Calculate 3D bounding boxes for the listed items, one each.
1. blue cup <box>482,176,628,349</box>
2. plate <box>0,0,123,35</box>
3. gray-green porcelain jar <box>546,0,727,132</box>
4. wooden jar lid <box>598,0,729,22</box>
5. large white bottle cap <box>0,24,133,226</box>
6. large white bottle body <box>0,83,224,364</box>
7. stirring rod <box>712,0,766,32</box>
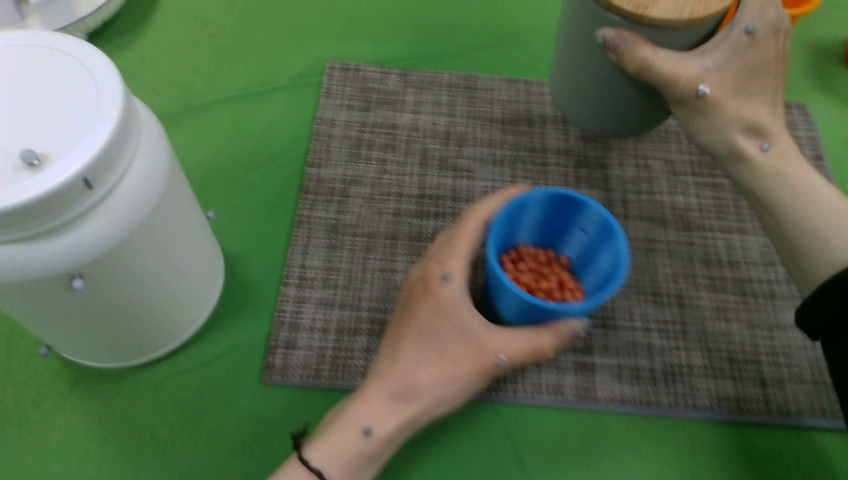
[{"bbox_3d":[0.077,0.025,0.397,0.092,0.101,0.092,0,57,0],"label":"blue cup"},{"bbox_3d":[-0.371,-0.245,0.560,0.208,0.039,0.206,2,61,-3],"label":"plate"},{"bbox_3d":[0.145,-0.148,0.434,0.106,0.127,0.105,-1,65,2],"label":"gray-green porcelain jar"},{"bbox_3d":[0.142,-0.174,0.378,0.108,0.021,0.107,0,65,0],"label":"wooden jar lid"},{"bbox_3d":[-0.200,-0.057,0.286,0.115,0.018,0.114,2,60,-3],"label":"large white bottle cap"},{"bbox_3d":[-0.204,-0.015,0.359,0.131,0.186,0.129,2,61,-3],"label":"large white bottle body"},{"bbox_3d":[0.336,-0.240,0.551,0.176,0.006,0.014,-29,61,28],"label":"stirring rod"}]
